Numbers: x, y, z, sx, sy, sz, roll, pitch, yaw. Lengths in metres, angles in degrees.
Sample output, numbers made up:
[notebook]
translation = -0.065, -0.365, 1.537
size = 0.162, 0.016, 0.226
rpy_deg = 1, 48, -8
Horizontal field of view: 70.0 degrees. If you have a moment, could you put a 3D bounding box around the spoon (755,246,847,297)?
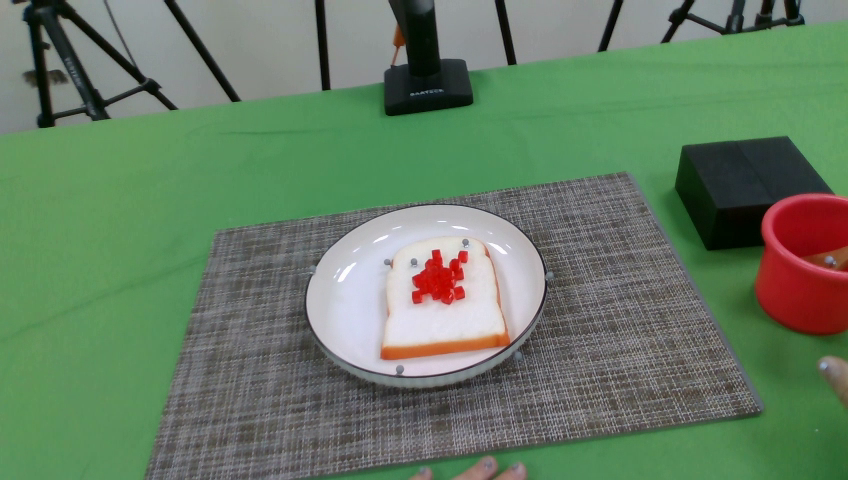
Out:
[spoon]
translation = 0.342, -0.001, 0.445
size = 0.022, 0.194, 0.041
rpy_deg = 41, 43, -14

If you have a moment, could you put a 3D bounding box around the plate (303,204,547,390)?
[plate]
translation = 0.000, 0.046, 0.528
size = 0.209, 0.038, 0.207
rpy_deg = -5, 42, 5

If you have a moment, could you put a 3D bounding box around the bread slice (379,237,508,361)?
[bread slice]
translation = 0.013, 0.046, 0.530
size = 0.105, 0.019, 0.130
rpy_deg = -6, 42, 2
